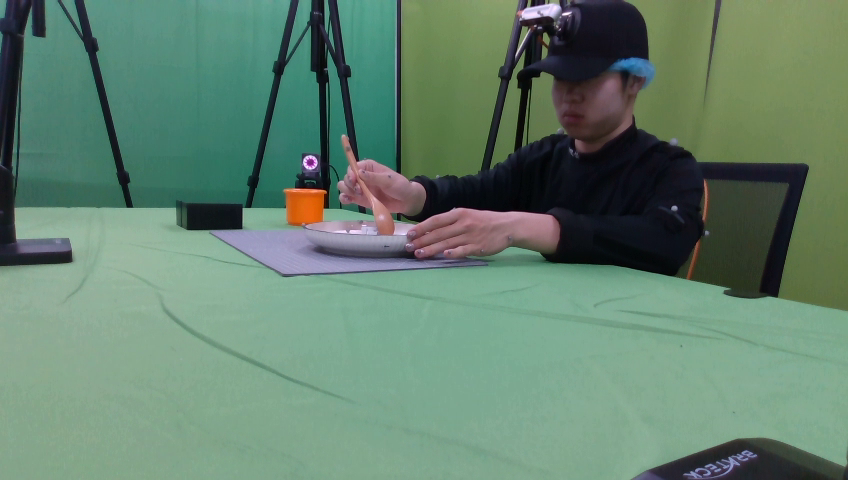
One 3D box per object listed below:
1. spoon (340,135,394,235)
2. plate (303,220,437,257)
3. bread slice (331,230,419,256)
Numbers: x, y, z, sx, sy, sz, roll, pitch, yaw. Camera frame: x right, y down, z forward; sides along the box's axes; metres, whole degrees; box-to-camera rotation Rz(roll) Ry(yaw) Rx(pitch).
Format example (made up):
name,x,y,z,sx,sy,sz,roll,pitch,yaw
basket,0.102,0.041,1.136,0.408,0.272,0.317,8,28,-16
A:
name,x,y,z,sx,sy,sz,roll,pitch,yaw
spoon,-0.092,-0.084,0.923,0.021,0.193,0.042,-42,-26,28
plate,-0.084,-0.003,0.951,0.209,0.038,0.209,3,7,0
bread slice,-0.088,0.002,0.948,0.131,0.019,0.105,14,12,43
